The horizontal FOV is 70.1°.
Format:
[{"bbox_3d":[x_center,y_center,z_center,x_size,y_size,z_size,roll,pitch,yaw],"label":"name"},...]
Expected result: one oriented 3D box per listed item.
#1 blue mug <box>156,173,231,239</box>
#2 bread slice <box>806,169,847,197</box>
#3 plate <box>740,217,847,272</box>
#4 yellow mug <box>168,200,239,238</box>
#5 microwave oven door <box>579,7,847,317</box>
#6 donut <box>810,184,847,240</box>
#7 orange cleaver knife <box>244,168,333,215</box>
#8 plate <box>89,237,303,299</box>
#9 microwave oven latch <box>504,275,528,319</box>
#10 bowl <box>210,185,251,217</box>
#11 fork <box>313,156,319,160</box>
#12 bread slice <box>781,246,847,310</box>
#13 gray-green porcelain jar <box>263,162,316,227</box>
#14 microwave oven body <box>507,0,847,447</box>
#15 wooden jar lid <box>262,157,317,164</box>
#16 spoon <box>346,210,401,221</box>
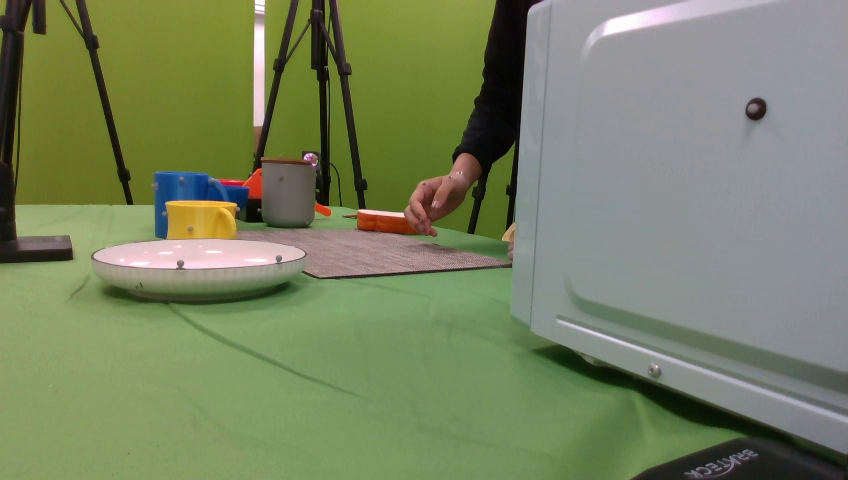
[{"bbox_3d":[-0.381,-0.057,1.004,0.117,0.106,0.082,1,8,-12],"label":"blue mug"},{"bbox_3d":[0.365,-0.051,0.453,0.135,0.018,0.106,-10,1,-23],"label":"bread slice"},{"bbox_3d":[0.358,0.002,0.465,0.209,0.038,0.209,0,4,0],"label":"plate"},{"bbox_3d":[-0.320,-0.023,0.904,0.130,0.064,0.100,8,11,36],"label":"yellow mug"},{"bbox_3d":[0.294,-0.067,0.570,0.358,0.243,0.039,-3,9,-31],"label":"microwave oven door"},{"bbox_3d":[0.352,-0.026,0.463,0.099,0.048,0.099,-10,3,1],"label":"donut"},{"bbox_3d":[-0.300,-0.089,1.351,0.212,0.077,0.012,28,-9,-34],"label":"orange cleaver knife"},{"bbox_3d":[-0.233,0.029,0.637,0.208,0.039,0.207,2,7,0],"label":"plate"},{"bbox_3d":[0.100,0.041,0.470,0.079,0.029,0.030,-1,7,-28],"label":"microwave oven latch"},{"bbox_3d":[-0.408,-0.064,1.154,0.151,0.077,0.151,2,8,0],"label":"bowl"},{"bbox_3d":[-0.331,-0.144,1.506,0.207,0.018,0.028,-42,-18,22],"label":"fork"},{"bbox_3d":[0.369,0.021,0.474,0.132,0.019,0.104,-22,11,-11],"label":"bread slice"},{"bbox_3d":[-0.271,-0.092,1.217,0.106,0.126,0.106,2,7,0],"label":"gray-green porcelain jar"},{"bbox_3d":[0.331,-0.042,0.425,0.444,0.260,0.324,-2,8,-31],"label":"microwave oven body"},{"bbox_3d":[-0.269,-0.154,1.208,0.108,0.020,0.108,3,4,0],"label":"wooden jar lid"},{"bbox_3d":[-0.121,-0.060,1.400,0.042,0.021,0.192,-26,24,-38],"label":"spoon"}]
